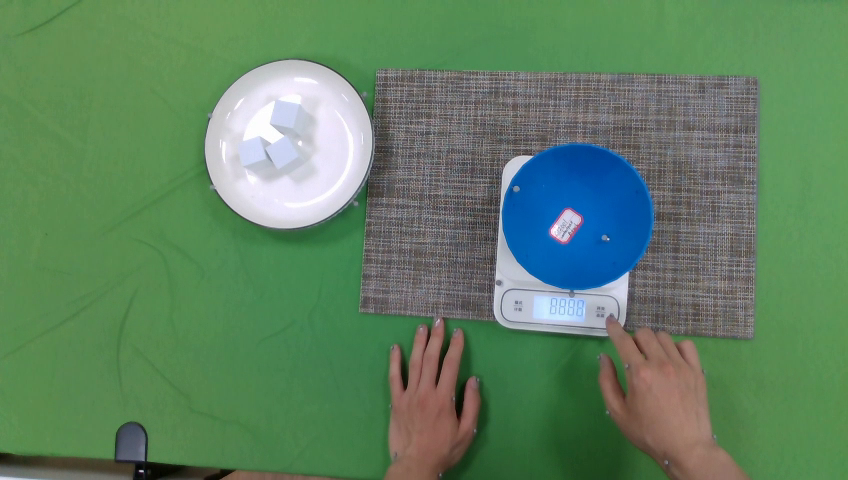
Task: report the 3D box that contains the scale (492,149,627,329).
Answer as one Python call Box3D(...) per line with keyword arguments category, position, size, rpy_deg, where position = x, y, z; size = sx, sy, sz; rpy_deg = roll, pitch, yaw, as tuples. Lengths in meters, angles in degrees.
Box3D(category="scale", position=(0.157, -0.002, 0.692), size=(0.148, 0.031, 0.200), rpy_deg=(3, 86, 6))

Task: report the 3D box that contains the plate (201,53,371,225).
Box3D(category="plate", position=(-0.164, -0.120, 0.735), size=(0.207, 0.039, 0.207), rpy_deg=(0, 85, 6))

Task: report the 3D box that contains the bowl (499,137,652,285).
Box3D(category="bowl", position=(0.153, -0.026, 0.641), size=(0.151, 0.077, 0.151), rpy_deg=(0, 86, 5))
